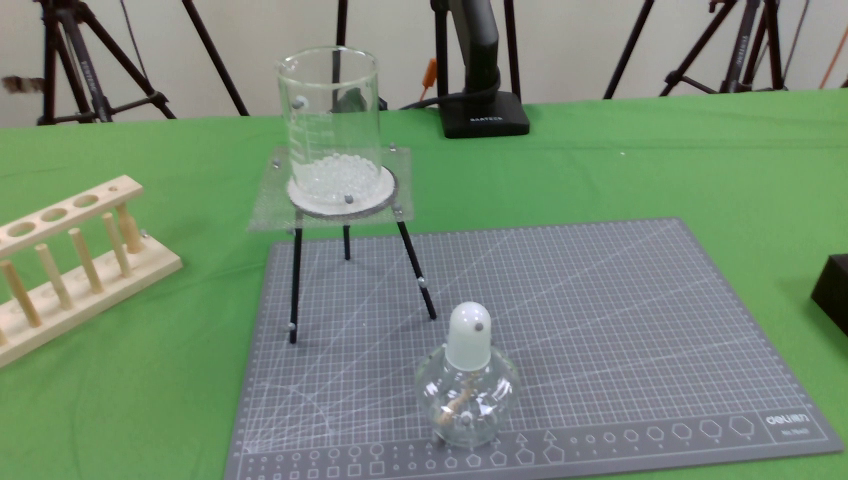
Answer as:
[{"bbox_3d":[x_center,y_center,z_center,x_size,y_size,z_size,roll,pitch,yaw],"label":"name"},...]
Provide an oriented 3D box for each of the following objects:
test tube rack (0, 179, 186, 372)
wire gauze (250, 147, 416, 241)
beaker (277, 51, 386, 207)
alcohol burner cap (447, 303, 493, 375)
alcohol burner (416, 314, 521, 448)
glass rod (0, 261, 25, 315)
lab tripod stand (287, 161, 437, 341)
[{"bbox_3d":[-0.347,0.040,0.539,0.066,0.086,0.242,27,45,32],"label":"test tube rack"},{"bbox_3d":[-0.069,-0.043,0.487,0.121,0.011,0.124,-2,39,-2],"label":"wire gauze"},{"bbox_3d":[-0.070,-0.083,0.459,0.083,0.101,0.074,21,42,24],"label":"beaker"},{"bbox_3d":[0.032,0.064,0.410,0.034,0.048,0.033,1,39,-1],"label":"alcohol burner cap"},{"bbox_3d":[0.032,0.093,0.432,0.078,0.120,0.077,0,39,0],"label":"alcohol burner"},{"bbox_3d":[-0.371,-0.019,0.507,0.008,0.201,0.008,0,30,0],"label":"glass rod"},{"bbox_3d":[-0.059,0.008,0.529,0.148,0.132,0.147,1,36,0],"label":"lab tripod stand"}]
